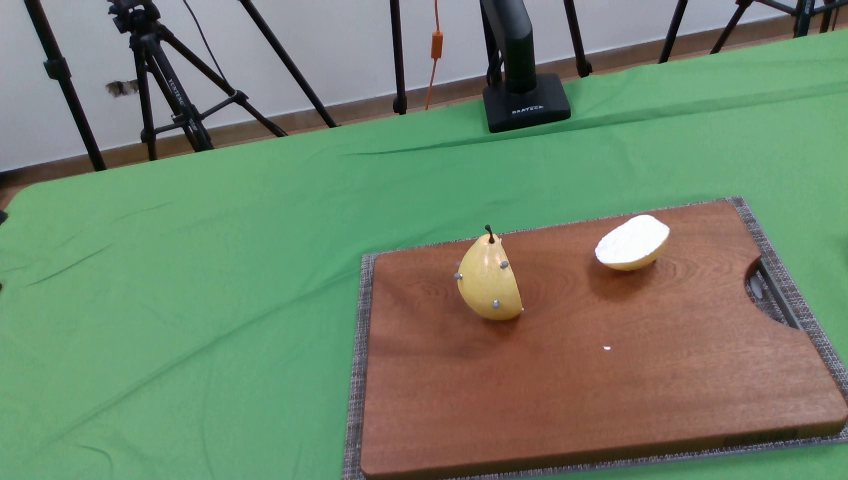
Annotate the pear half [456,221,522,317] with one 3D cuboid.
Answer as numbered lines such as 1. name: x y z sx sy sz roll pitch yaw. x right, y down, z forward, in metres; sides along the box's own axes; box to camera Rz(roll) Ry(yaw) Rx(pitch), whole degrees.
1. pear half: 0.057 0.027 0.580 0.056 0.111 0.075 -21 39 -6

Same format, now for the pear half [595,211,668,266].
1. pear half: 0.213 0.003 0.615 0.070 0.031 0.088 0 29 38
